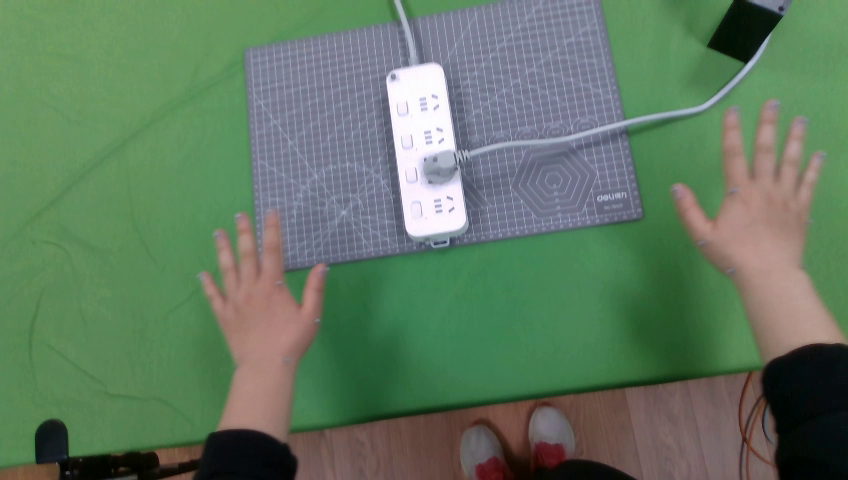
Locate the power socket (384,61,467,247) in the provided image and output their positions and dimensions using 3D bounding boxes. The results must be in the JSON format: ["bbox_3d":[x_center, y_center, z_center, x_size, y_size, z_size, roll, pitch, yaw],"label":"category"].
[{"bbox_3d":[0.001,-0.105,0.706,0.072,0.033,0.225,-9,77,5],"label":"power socket"}]

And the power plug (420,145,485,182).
[{"bbox_3d":[0.031,-0.082,0.678,0.072,0.053,0.035,2,79,6],"label":"power plug"}]
